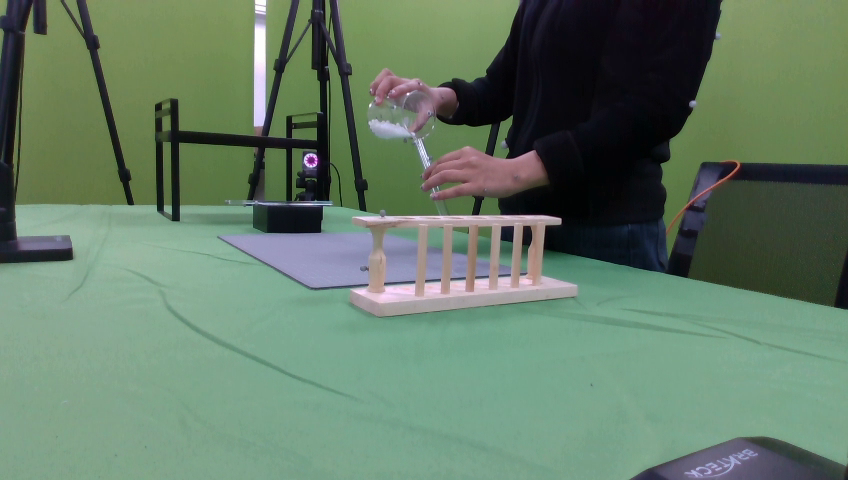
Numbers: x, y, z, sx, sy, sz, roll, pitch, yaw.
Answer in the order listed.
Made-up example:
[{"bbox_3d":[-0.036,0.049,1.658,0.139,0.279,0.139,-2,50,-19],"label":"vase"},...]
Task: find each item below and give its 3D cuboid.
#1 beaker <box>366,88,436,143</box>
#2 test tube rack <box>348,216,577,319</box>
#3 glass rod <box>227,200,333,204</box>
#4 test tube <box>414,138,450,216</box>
[{"bbox_3d":[-0.041,-0.200,0.988,0.074,0.084,0.100,-8,11,-42],"label":"beaker"},{"bbox_3d":[0.048,0.021,0.619,0.244,0.085,0.066,-2,9,-31],"label":"test tube rack"},{"bbox_3d":[-0.268,-0.071,1.143,0.201,0.008,0.008,-1,8,-29],"label":"glass rod"},{"bbox_3d":[0.013,-0.092,0.940,0.017,0.150,0.017,-18,-16,-5],"label":"test tube"}]
